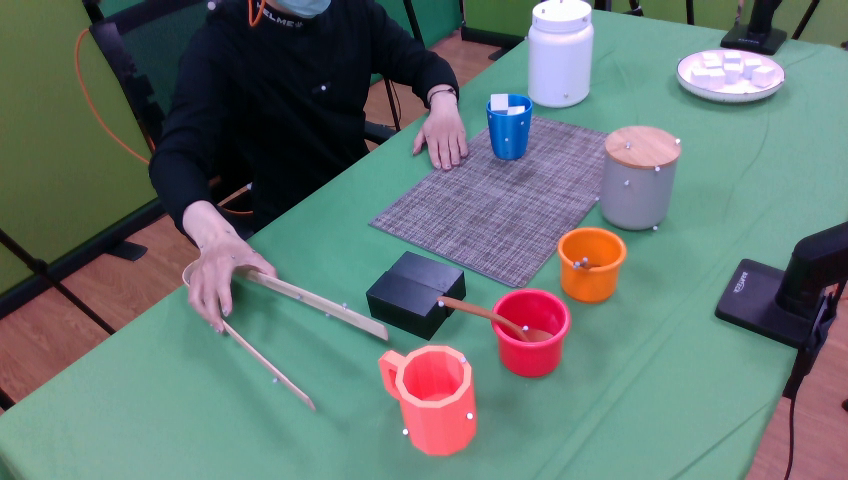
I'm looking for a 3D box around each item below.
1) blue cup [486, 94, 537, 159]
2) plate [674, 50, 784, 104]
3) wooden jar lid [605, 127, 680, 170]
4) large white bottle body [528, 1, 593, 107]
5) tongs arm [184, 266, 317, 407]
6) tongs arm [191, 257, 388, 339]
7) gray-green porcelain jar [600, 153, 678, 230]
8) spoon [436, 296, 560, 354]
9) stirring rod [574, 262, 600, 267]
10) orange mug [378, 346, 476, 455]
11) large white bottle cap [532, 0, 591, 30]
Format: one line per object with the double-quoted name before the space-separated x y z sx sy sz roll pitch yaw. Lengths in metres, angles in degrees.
"blue cup" 0.160 -0.208 1.129 0.092 0.100 0.092 -4 39 4
"plate" 0.631 -0.336 1.262 0.207 0.039 0.206 -4 41 4
"wooden jar lid" 0.327 -0.134 0.909 0.108 0.021 0.108 -2 43 2
"large white bottle body" 0.283 -0.386 1.259 0.130 0.185 0.130 -5 41 4
"tongs arm" -0.254 0.123 0.839 0.028 0.028 0.384 -41 44 -22
"tongs arm" -0.210 0.083 0.875 0.381 0.027 0.051 18 50 36
"gray-green porcelain jar" 0.334 -0.087 0.949 0.106 0.127 0.105 -4 40 4
"spoon" 0.095 0.102 0.750 0.195 0.021 0.041 28 31 -28
"stirring rod" 0.222 0.033 0.816 0.014 0.006 0.177 8 1 22
"orange mug" 0.002 0.179 0.709 0.125 0.101 0.083 25 50 27
"large white bottle cap" 0.274 -0.450 1.204 0.115 0.018 0.114 -4 41 4
